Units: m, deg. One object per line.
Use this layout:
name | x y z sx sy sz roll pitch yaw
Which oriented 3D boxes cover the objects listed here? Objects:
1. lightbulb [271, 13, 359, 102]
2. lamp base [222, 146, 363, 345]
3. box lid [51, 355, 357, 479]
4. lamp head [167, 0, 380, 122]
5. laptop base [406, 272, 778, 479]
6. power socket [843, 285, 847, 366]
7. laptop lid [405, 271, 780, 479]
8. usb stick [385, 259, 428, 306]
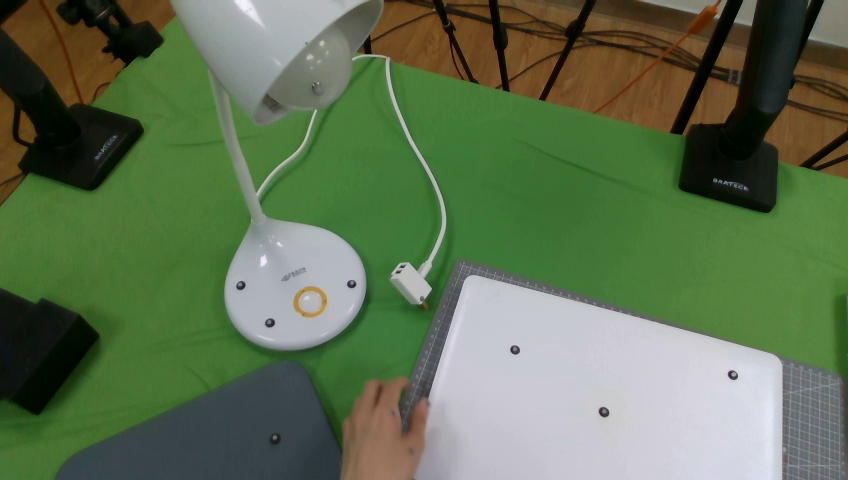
lightbulb | -0.077 -0.138 0.368 0.059 0.059 0.108 -20 99 -13
lamp base | -0.159 -0.002 0.638 0.160 0.182 0.177 -37 62 -22
box lid | -0.170 0.302 0.545 0.263 0.015 0.368 -24 62 -15
lamp head | -0.106 -0.151 0.374 0.123 0.112 0.112 44 64 -2
laptop base | 0.180 0.176 0.629 0.353 0.023 0.234 14 62 8
power socket | 0.501 0.137 0.654 0.072 0.033 0.225 16 58 8
laptop lid | 0.180 0.171 0.618 0.356 0.013 0.240 16 61 9
usb stick | -0.016 0.050 0.688 0.021 0.059 0.027 -7 37 48
